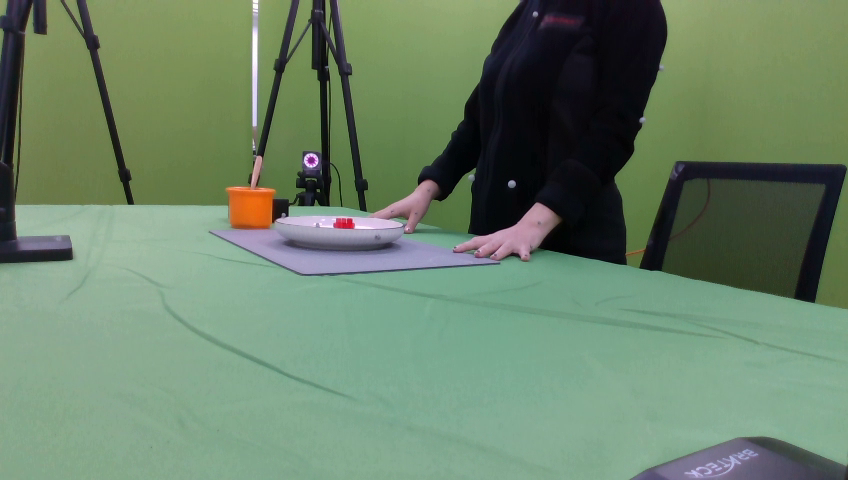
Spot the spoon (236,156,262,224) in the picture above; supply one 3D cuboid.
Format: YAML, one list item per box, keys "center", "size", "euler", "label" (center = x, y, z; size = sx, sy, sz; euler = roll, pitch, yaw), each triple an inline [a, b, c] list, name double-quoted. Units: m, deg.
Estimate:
- center: [-0.338, -0.102, 1.197]
  size: [0.042, 0.193, 0.021]
  euler: [1, -37, -4]
  label: "spoon"

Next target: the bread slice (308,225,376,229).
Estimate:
- center: [-0.133, -0.011, 0.974]
  size: [0.135, 0.018, 0.106]
  euler: [-3, 8, -33]
  label: "bread slice"

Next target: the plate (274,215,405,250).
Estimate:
- center: [-0.136, -0.013, 0.981]
  size: [0.209, 0.038, 0.209]
  euler: [2, 7, 0]
  label: "plate"
